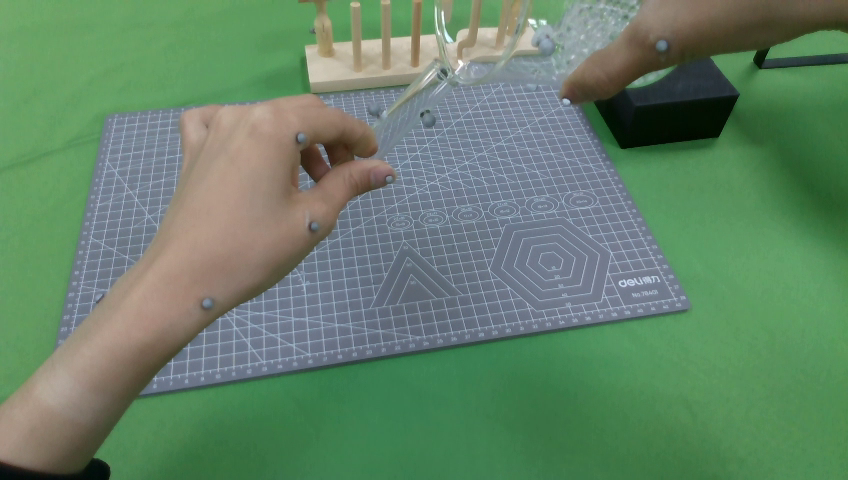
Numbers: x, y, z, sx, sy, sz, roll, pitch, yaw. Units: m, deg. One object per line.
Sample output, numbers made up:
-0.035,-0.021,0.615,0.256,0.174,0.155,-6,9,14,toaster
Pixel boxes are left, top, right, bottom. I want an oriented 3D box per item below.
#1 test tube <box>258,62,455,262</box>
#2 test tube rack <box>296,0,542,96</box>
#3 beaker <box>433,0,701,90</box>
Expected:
-0.041,-0.034,0.312,0.017,0.150,0.017,36,30,-25,test tube
-0.001,-0.211,0.609,0.243,0.086,0.066,-8,51,-8,test tube rack
0.063,-0.102,0.270,0.101,0.084,0.073,-5,56,-25,beaker
